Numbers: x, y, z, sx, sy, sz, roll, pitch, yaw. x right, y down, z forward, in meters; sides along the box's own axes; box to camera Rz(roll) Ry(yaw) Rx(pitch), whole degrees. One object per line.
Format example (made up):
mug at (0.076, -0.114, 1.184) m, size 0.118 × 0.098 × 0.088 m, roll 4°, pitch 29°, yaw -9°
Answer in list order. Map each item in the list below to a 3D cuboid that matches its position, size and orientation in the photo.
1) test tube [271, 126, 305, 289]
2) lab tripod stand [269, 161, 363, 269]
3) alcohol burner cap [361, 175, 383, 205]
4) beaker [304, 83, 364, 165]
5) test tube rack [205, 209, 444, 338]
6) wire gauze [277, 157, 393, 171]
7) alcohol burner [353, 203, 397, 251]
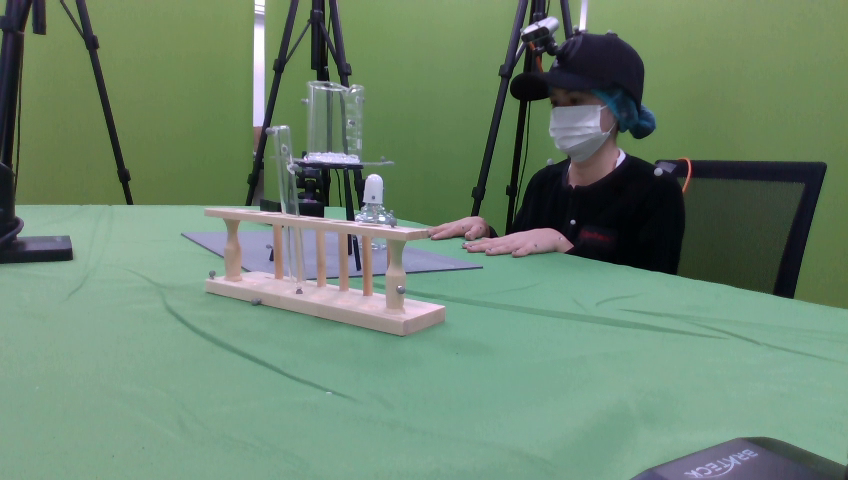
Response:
test tube at (-0.124, -0.028, 0.554) m, size 0.017 × 0.150 × 0.017 m, roll -5°, pitch 7°, yaw 1°
lab tripod stand at (-0.125, -0.036, 0.794) m, size 0.148 × 0.131 × 0.148 m, roll 5°, pitch 7°, yaw 0°
alcohol burner cap at (-0.080, -0.078, 0.945) m, size 0.034 × 0.048 × 0.034 m, roll 5°, pitch 7°, yaw 0°
beaker at (-0.115, -0.148, 0.779) m, size 0.074 × 0.100 × 0.083 m, roll -2°, pitch 10°, yaw -30°
test tube rack at (-0.100, 0.021, 0.565) m, size 0.241 × 0.085 × 0.067 m, roll 7°, pitch 8°, yaw 32°
wire gauze at (-0.122, -0.100, 0.786) m, size 0.122 × 0.011 × 0.124 m, roll -5°, pitch 14°, yaw -38°
alcohol burner at (-0.082, -0.043, 0.950) m, size 0.078 × 0.119 × 0.078 m, roll 1°, pitch 8°, yaw 0°
